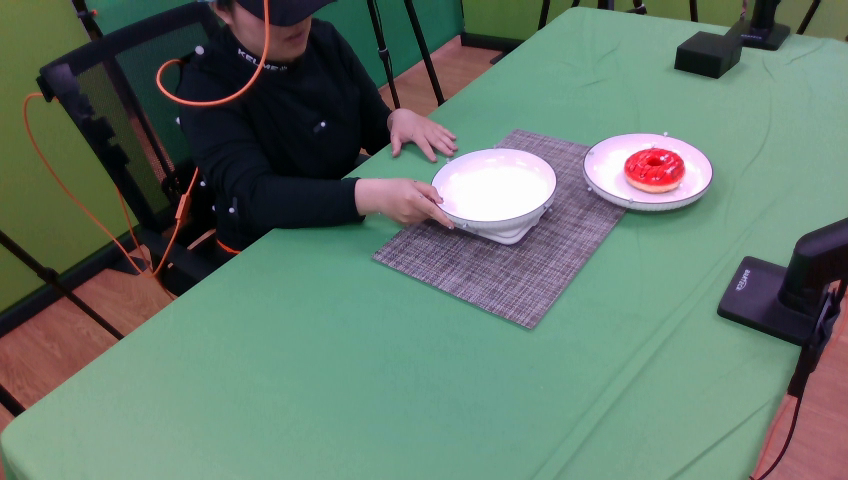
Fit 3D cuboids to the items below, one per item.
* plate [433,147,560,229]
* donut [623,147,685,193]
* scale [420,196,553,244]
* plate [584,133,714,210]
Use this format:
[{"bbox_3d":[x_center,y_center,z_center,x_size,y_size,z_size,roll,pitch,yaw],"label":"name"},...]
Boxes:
[{"bbox_3d":[0.119,-0.083,0.997,0.207,0.039,0.206,-6,40,5],"label":"plate"},{"bbox_3d":[0.388,-0.119,1.019,0.099,0.048,0.098,-4,42,4],"label":"donut"},{"bbox_3d":[0.106,-0.064,1.029,0.199,0.032,0.149,21,48,32],"label":"scale"},{"bbox_3d":[0.379,-0.113,1.030,0.209,0.038,0.208,-4,41,4],"label":"plate"}]
